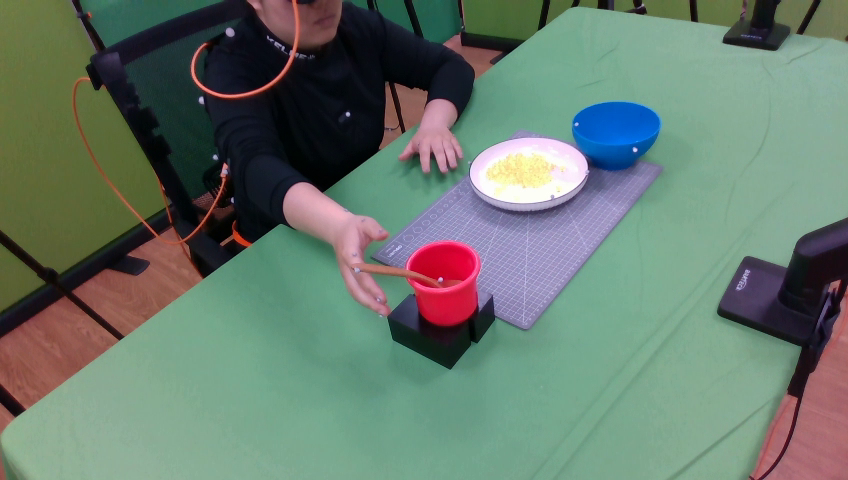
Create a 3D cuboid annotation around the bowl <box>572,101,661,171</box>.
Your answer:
[{"bbox_3d":[0.339,-0.177,1.079,0.151,0.077,0.150,-5,40,5],"label":"bowl"}]

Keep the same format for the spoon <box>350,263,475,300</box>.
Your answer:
[{"bbox_3d":[-0.010,0.048,0.754,0.195,0.021,0.041,19,26,-39],"label":"spoon"}]

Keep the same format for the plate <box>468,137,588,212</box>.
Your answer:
[{"bbox_3d":[0.182,-0.112,1.064,0.207,0.039,0.206,-5,40,5],"label":"plate"}]
